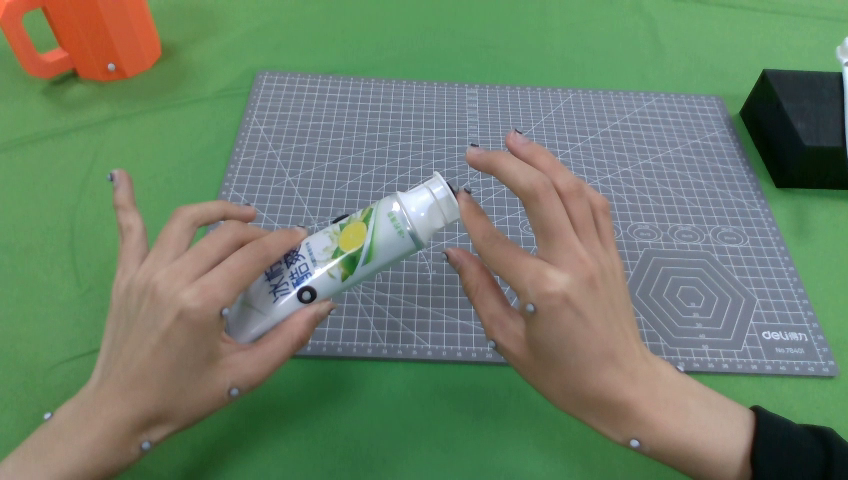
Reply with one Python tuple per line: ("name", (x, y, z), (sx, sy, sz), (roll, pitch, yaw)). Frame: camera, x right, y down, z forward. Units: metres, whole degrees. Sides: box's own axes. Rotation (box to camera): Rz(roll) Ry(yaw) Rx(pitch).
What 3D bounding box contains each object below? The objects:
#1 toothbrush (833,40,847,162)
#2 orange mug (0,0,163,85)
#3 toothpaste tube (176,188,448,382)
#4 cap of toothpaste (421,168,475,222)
("toothbrush", (0.362, -0.116, 0.512), (0.014, 0.017, 0.180), (19, 53, 8))
("orange mug", (-0.309, -0.198, 0.543), (0.083, 0.101, 0.126), (37, 54, 23))
("toothpaste tube", (-0.061, 0.016, 0.339), (0.165, 0.035, 0.054), (-29, 50, -2))
("cap of toothpaste", (0.013, -0.024, 0.341), (0.037, 0.037, 0.011), (38, 65, 25))
